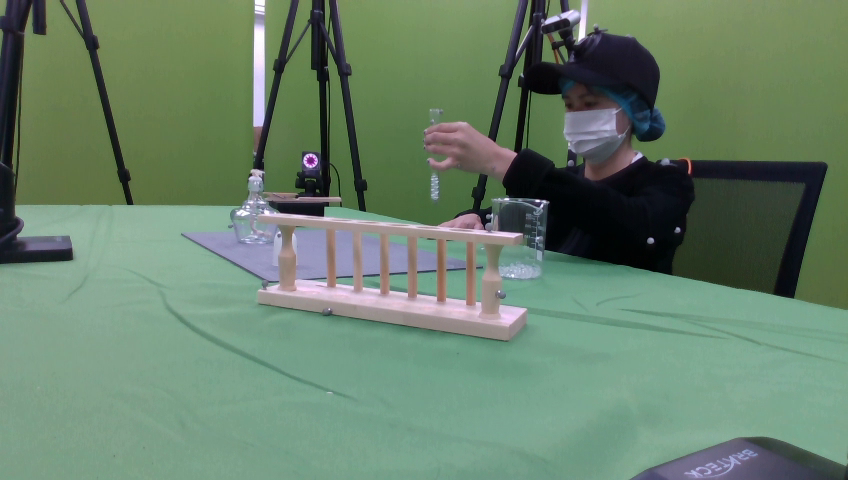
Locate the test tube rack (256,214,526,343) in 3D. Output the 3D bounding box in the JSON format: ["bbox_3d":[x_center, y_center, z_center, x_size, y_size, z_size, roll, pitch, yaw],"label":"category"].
[{"bbox_3d":[-0.032,0.027,0.547,0.241,0.085,0.067,5,7,22],"label":"test tube rack"}]

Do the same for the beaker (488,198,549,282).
[{"bbox_3d":[0.120,-0.001,0.768,0.074,0.100,0.083,-1,9,-25],"label":"beaker"}]

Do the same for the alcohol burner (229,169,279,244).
[{"bbox_3d":[-0.268,-0.053,0.958,0.078,0.119,0.078,2,6,0],"label":"alcohol burner"}]

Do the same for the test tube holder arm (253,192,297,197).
[{"bbox_3d":[-0.301,-0.091,1.223,0.088,0.010,0.015,0,7,-25],"label":"test tube holder arm"}]

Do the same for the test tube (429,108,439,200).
[{"bbox_3d":[0.016,-0.139,0.993,0.017,0.150,0.017,0,15,0],"label":"test tube"}]

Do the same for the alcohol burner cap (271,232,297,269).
[{"bbox_3d":[-0.175,0.012,0.760,0.034,0.048,0.034,2,8,0],"label":"alcohol burner cap"}]

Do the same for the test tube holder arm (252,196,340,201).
[{"bbox_3d":[-0.260,-0.086,1.242,0.179,0.013,0.015,0,7,-25],"label":"test tube holder arm"}]
